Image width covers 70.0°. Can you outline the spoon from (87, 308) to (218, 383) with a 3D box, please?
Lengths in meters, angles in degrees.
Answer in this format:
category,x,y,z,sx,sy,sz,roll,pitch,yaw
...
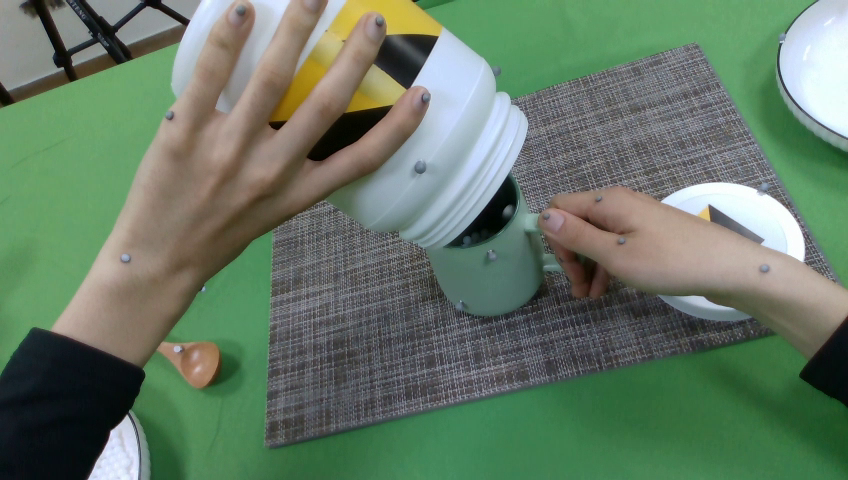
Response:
category,x,y,z,sx,sy,sz,roll,pitch,yaw
spoon,-0.262,0.091,0.573,0.192,0.022,0.041,14,80,26

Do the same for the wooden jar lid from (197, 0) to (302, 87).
category,x,y,z,sx,sy,sz,roll,pitch,yaw
wooden jar lid,-0.162,-0.184,0.571,0.108,0.021,0.107,-11,54,16

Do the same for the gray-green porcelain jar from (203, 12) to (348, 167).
category,x,y,z,sx,sy,sz,roll,pitch,yaw
gray-green porcelain jar,-0.143,-0.147,0.619,0.105,0.128,0.105,-10,52,13

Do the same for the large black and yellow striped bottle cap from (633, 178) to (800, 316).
category,x,y,z,sx,sy,sz,roll,pitch,yaw
large black and yellow striped bottle cap,0.221,0.003,0.463,0.115,0.019,0.114,-10,55,15

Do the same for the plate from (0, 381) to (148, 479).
category,x,y,z,sx,sy,sz,roll,pitch,yaw
plate,-0.316,0.221,0.499,0.209,0.038,0.207,-9,56,13

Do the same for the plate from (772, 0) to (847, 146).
category,x,y,z,sx,sy,sz,roll,pitch,yaw
plate,0.395,-0.142,0.487,0.207,0.039,0.205,-9,56,14

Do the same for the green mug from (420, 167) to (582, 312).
category,x,y,z,sx,sy,sz,roll,pitch,yaw
green mug,0.057,-0.001,0.468,0.125,0.106,0.092,3,59,21

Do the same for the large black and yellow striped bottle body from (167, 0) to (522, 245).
category,x,y,z,sx,sy,sz,roll,pitch,yaw
large black and yellow striped bottle body,-0.043,-0.090,0.376,0.131,0.185,0.129,-50,17,21
